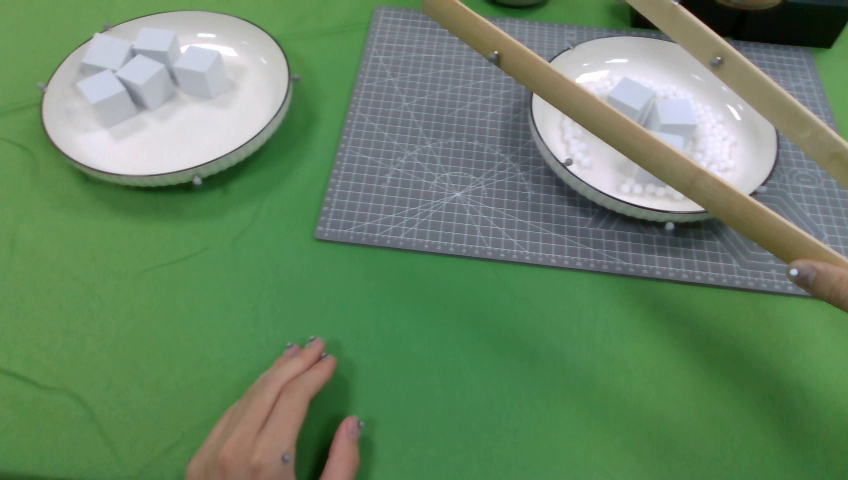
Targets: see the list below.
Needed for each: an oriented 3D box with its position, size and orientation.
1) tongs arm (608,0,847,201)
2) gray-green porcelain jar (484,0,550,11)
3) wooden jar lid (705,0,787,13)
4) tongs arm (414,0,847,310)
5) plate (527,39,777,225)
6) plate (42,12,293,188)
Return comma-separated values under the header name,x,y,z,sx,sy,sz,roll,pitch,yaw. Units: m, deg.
name,x,y,z,sx,sy,sz,roll,pitch,yaw
tongs arm,0.198,-0.093,0.398,0.051,0.027,0.382,-32,69,-25
gray-green porcelain jar,0.100,-0.313,0.621,0.106,0.127,0.105,1,56,-1
wooden jar lid,0.310,-0.259,0.596,0.108,0.021,0.107,1,57,-1
tongs arm,0.143,-0.053,0.367,0.385,0.028,0.028,38,57,14
plate,0.191,-0.095,0.528,0.209,0.038,0.207,1,56,-1
plate,-0.219,-0.123,0.537,0.208,0.039,0.205,1,56,-1
